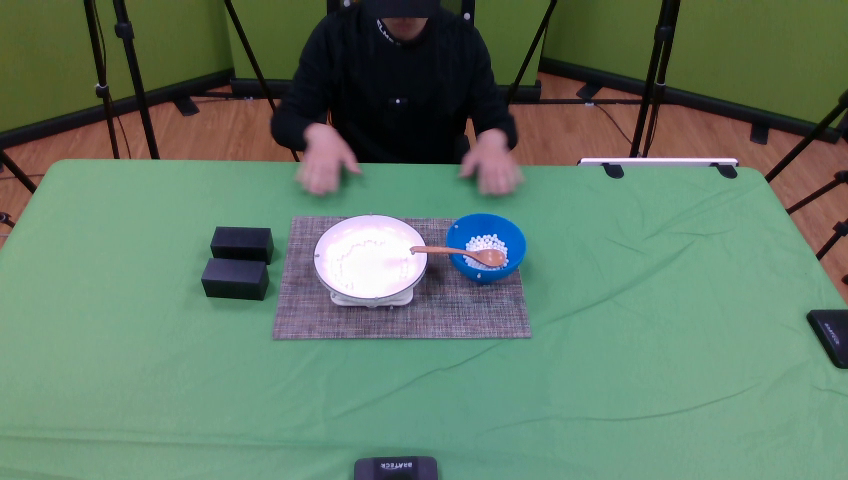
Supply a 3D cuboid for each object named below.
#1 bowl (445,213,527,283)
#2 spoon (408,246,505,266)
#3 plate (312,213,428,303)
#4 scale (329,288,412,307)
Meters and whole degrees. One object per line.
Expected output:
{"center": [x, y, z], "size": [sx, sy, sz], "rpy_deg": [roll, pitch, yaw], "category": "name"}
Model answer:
{"center": [0.111, 0.027, 1.137], "size": [0.151, 0.077, 0.150], "rpy_deg": [2, 46, -2], "category": "bowl"}
{"center": [0.061, 0.023, 1.091], "size": [0.194, 0.022, 0.041], "rpy_deg": [9, 49, -27], "category": "spoon"}
{"center": [-0.097, 0.036, 1.100], "size": [0.209, 0.038, 0.208], "rpy_deg": [2, 46, -2], "category": "plate"}
{"center": [-0.098, 0.042, 1.139], "size": [0.149, 0.032, 0.199], "rpy_deg": [1, 46, -4], "category": "scale"}
